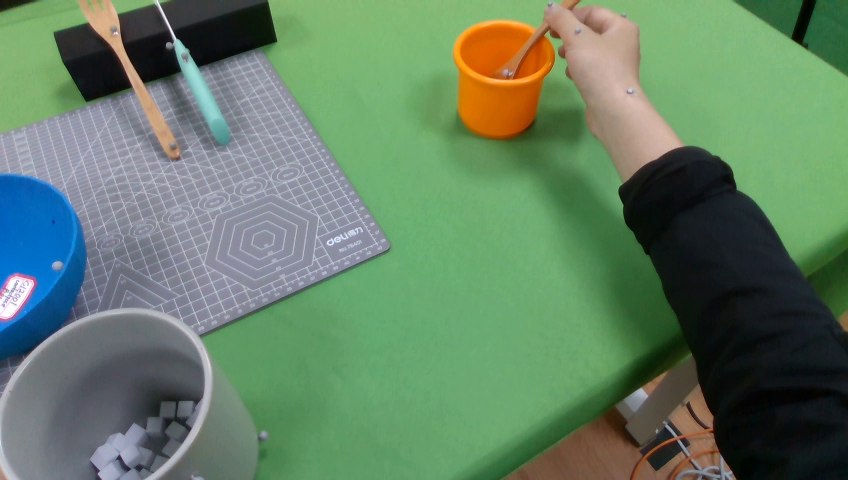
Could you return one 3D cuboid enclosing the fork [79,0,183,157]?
[{"bbox_3d":[-0.276,-0.165,0.569,0.028,0.019,0.206,-27,78,-24],"label":"fork"}]

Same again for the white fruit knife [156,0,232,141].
[{"bbox_3d":[-0.233,-0.183,0.584,0.016,0.027,0.206,-26,73,-18],"label":"white fruit knife"}]

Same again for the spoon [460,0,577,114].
[{"bbox_3d":[0.105,-0.188,0.552,0.022,0.194,0.041,16,37,-46],"label":"spoon"}]

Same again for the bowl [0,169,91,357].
[{"bbox_3d":[-0.307,0.031,0.434,0.151,0.077,0.150,0,55,0],"label":"bowl"}]
